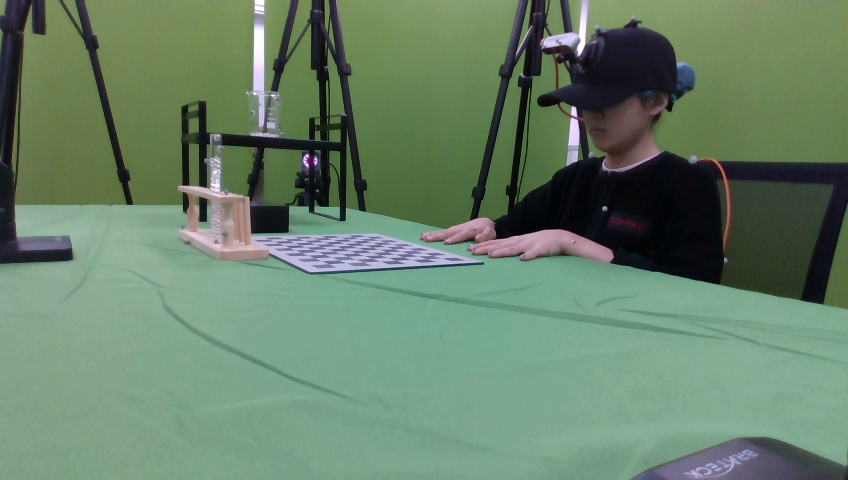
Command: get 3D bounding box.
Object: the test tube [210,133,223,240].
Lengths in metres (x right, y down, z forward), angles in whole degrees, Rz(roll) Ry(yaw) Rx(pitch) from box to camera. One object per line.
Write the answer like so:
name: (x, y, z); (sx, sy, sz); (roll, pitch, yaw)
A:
test tube: (-0.293, -0.075, 0.852); (0.017, 0.150, 0.017); (1, 2, 0)

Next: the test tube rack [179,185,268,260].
test tube rack: (-0.303, -0.031, 0.898); (0.067, 0.085, 0.241); (-2, 9, -33)

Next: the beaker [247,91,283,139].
beaker: (-0.357, -0.278, 1.348); (0.073, 0.100, 0.084); (9, 10, 39)
